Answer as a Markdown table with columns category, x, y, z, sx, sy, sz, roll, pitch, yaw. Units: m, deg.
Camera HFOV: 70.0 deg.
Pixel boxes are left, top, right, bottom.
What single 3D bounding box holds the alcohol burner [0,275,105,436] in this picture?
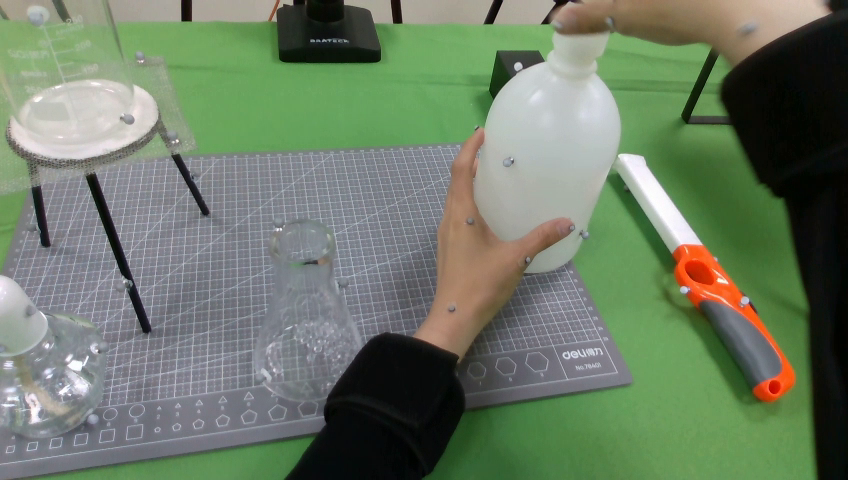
| category | x | y | z | sx | sy | sz | roll | pitch | yaw |
| --- | --- | --- | --- | --- | --- | --- | --- | --- | --- |
| alcohol burner | -0.232 | 0.062 | 0.351 | 0.078 | 0.120 | 0.077 | 6 | 44 | -5 |

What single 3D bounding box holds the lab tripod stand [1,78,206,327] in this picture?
| category | x | y | z | sx | sy | sz | roll | pitch | yaw |
| --- | --- | --- | --- | --- | --- | --- | --- | --- | --- |
| lab tripod stand | -0.221 | -0.031 | 0.429 | 0.148 | 0.132 | 0.147 | 6 | 46 | -6 |

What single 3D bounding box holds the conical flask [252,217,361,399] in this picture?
| category | x | y | z | sx | sy | sz | roll | pitch | yaw |
| --- | --- | --- | --- | --- | --- | --- | --- | --- | --- |
| conical flask | -0.077 | 0.041 | 0.388 | 0.075 | 0.123 | 0.074 | 4 | 46 | -4 |

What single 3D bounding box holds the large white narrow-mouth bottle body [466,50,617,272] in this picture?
| category | x | y | z | sx | sy | sz | roll | pitch | yaw |
| --- | --- | --- | --- | --- | --- | --- | --- | --- | --- |
| large white narrow-mouth bottle body | 0.093 | -0.071 | 0.471 | 0.102 | 0.196 | 0.101 | 4 | 46 | -3 |

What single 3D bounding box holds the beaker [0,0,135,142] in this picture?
| category | x | y | z | sx | sy | sz | roll | pitch | yaw |
| --- | --- | --- | --- | --- | --- | --- | --- | --- | --- |
| beaker | -0.217 | -0.114 | 0.349 | 0.084 | 0.101 | 0.073 | -10 | 50 | -17 |

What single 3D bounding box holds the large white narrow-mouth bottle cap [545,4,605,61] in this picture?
| category | x | y | z | sx | sy | sz | roll | pitch | yaw |
| --- | --- | --- | --- | --- | --- | --- | --- | --- | --- |
| large white narrow-mouth bottle cap | 0.101 | -0.138 | 0.404 | 0.038 | 0.024 | 0.037 | 4 | 46 | -4 |

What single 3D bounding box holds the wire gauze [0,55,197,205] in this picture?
| category | x | y | z | sx | sy | sz | roll | pitch | yaw |
| --- | --- | --- | --- | --- | --- | --- | --- | --- | --- |
| wire gauze | -0.218 | -0.078 | 0.383 | 0.122 | 0.011 | 0.123 | -17 | 55 | -21 |

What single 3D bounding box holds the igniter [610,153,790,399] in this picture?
| category | x | y | z | sx | sy | sz | roll | pitch | yaw |
| --- | --- | --- | --- | --- | --- | --- | --- | --- | --- |
| igniter | 0.231 | 0.016 | 0.530 | 0.057 | 0.025 | 0.273 | 4 | 45 | -20 |

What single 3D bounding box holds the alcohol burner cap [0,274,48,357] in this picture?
| category | x | y | z | sx | sy | sz | roll | pitch | yaw |
| --- | --- | --- | --- | --- | --- | --- | --- | --- | --- |
| alcohol burner cap | -0.227 | 0.038 | 0.324 | 0.034 | 0.048 | 0.033 | 4 | 51 | -5 |
